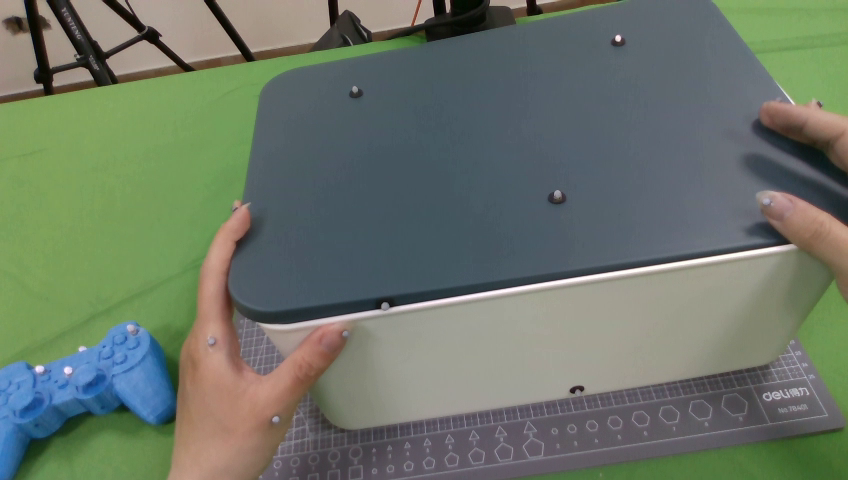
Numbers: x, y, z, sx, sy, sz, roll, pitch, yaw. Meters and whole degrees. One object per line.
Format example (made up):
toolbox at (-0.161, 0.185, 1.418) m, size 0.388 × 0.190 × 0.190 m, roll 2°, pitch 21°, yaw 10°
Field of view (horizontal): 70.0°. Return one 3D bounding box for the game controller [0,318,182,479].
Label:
game controller at (-0.281, 0.121, 0.489) m, size 0.155 × 0.052 × 0.096 m, roll -20°, pitch 44°, yaw -9°

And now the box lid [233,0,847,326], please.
box lid at (0.058, -0.074, 0.417) m, size 0.371 × 0.015 × 0.260 m, roll -10°, pitch 47°, yaw 2°

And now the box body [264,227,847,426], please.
box body at (0.078, -0.018, 0.469) m, size 0.364 × 0.162 × 0.251 m, roll -9°, pitch 48°, yaw 2°
